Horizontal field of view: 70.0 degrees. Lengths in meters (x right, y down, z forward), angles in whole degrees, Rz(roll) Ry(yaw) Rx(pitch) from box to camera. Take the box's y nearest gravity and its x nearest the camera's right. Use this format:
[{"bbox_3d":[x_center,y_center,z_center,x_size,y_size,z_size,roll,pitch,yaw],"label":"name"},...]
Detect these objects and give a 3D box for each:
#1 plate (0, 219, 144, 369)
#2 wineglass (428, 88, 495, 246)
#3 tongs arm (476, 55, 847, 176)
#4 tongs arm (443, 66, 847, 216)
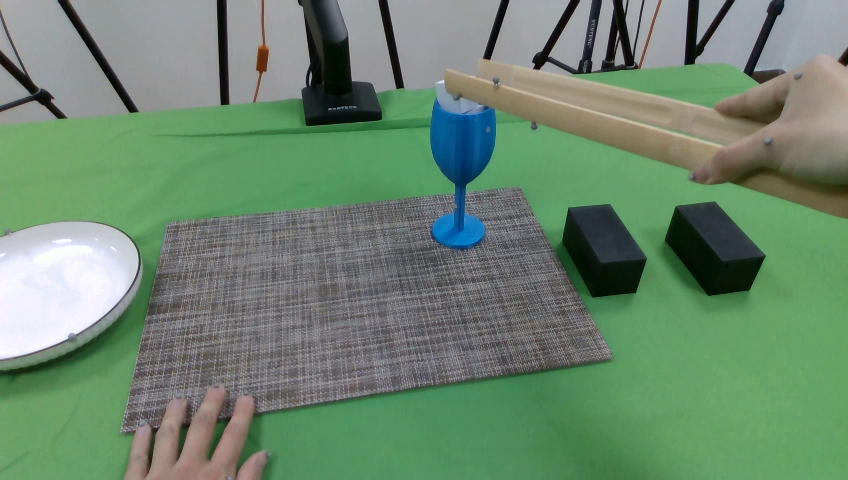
[{"bbox_3d":[-0.396,0.054,0.624,0.209,0.038,0.207,0,40,0],"label":"plate"},{"bbox_3d":[0.040,-0.079,0.680,0.074,0.174,0.073,0,40,0],"label":"wineglass"},{"bbox_3d":[0.180,-0.106,0.499,0.028,0.028,0.383,-24,38,-36],"label":"tongs arm"},{"bbox_3d":[0.159,-0.094,0.483,0.051,0.027,0.381,-25,38,-32],"label":"tongs arm"}]
